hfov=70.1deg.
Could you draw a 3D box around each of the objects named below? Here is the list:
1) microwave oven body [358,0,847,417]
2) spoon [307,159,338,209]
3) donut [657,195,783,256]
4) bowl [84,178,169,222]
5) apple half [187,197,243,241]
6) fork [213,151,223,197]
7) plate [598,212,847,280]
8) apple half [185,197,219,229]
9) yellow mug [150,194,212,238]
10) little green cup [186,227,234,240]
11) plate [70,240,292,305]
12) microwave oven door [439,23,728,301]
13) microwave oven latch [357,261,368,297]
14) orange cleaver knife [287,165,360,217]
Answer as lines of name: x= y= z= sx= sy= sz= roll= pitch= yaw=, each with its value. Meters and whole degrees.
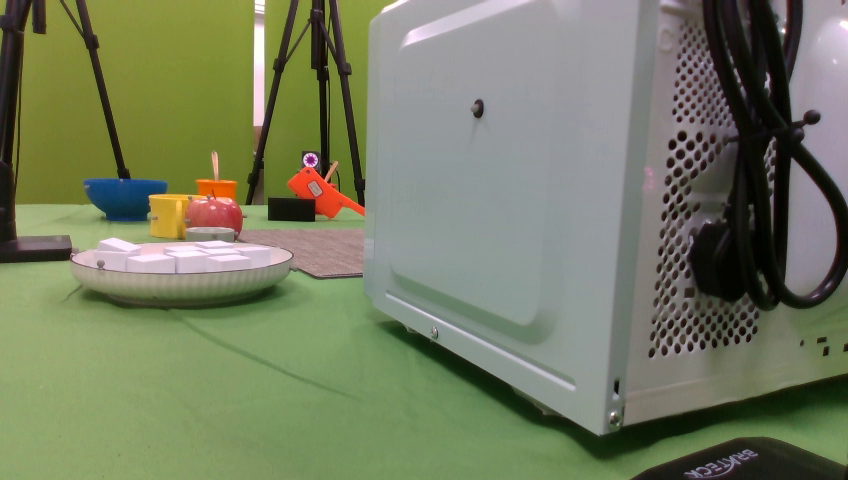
microwave oven body: x=0.211 y=-0.047 z=0.474 sx=0.444 sy=0.260 sz=0.324 roll=-1 pitch=8 yaw=-28
spoon: x=-0.257 y=-0.147 z=1.566 sx=0.041 sy=0.022 sz=0.193 roll=1 pitch=50 yaw=20
donut: x=0.251 y=-0.012 z=0.518 sx=0.099 sy=0.048 sz=0.099 roll=5 pitch=7 yaw=0
bowl: x=-0.584 y=-0.078 z=1.193 sx=0.151 sy=0.077 sz=0.151 roll=3 pitch=8 yaw=0
apple half: x=-0.305 y=-0.026 z=0.907 sx=0.053 sy=0.074 sz=0.081 roll=13 pitch=8 yaw=31
fork: x=-0.493 y=-0.143 z=1.442 sx=0.028 sy=0.018 sz=0.206 roll=-3 pitch=52 yaw=-18
plate: x=0.255 y=0.002 z=0.519 sx=0.209 sy=0.038 sz=0.209 roll=2 pitch=7 yaw=0
apple half: x=-0.338 y=-0.031 z=0.927 sx=0.032 sy=0.081 sz=0.081 roll=12 pitch=12 yaw=31
yellow mug: x=-0.401 y=-0.039 z=1.003 sx=0.100 sy=0.064 sz=0.130 roll=0 pitch=9 yaw=-20
little green cup: x=-0.284 y=0.005 z=0.805 sx=0.061 sy=0.038 sz=0.061 roll=3 pitch=8 yaw=0
plate: x=-0.242 y=0.031 z=0.618 sx=0.208 sy=0.039 sz=0.207 roll=2 pitch=8 yaw=0
microwave oven door: x=0.181 y=-0.073 z=0.620 sx=0.358 sy=0.243 sz=0.039 roll=-2 pitch=8 yaw=-29
microwave oven latch: x=-0.019 y=0.033 z=0.530 sx=0.079 sy=0.029 sz=0.030 roll=-1 pitch=7 yaw=-27
orange cleaver knife: x=-0.211 y=-0.092 z=1.382 sx=0.212 sy=0.077 sz=0.012 roll=34 pitch=1 yaw=-15
